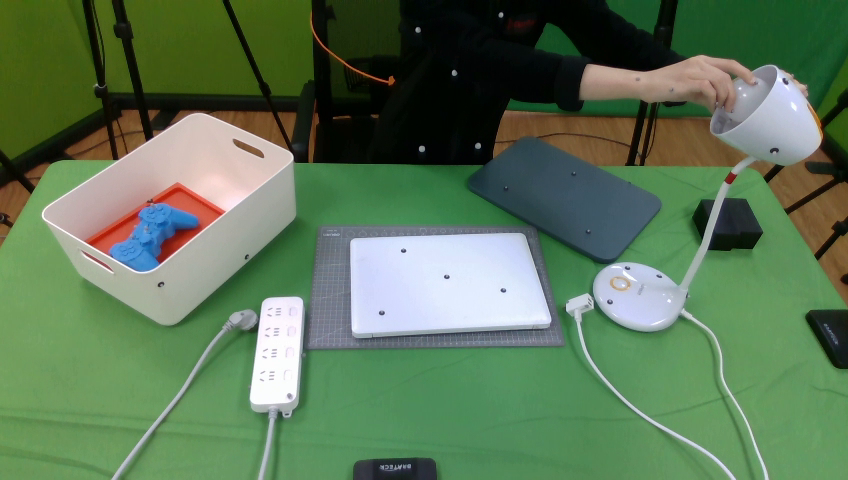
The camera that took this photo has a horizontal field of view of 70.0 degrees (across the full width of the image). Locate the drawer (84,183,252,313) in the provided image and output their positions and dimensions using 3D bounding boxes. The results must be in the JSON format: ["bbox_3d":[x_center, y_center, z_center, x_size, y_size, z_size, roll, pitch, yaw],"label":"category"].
[{"bbox_3d":[-0.457,0.008,1.099,0.194,0.073,0.211,29,49,21],"label":"drawer"}]

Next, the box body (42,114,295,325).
[{"bbox_3d":[-0.437,-0.046,1.110,0.253,0.161,0.363,24,49,19],"label":"box body"}]

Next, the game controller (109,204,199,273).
[{"bbox_3d":[-0.467,-0.005,1.044,0.097,0.052,0.154,8,45,10],"label":"game controller"}]

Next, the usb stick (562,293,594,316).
[{"bbox_3d":[0.274,0.118,1.087,0.021,0.059,0.027,39,45,-27],"label":"usb stick"}]

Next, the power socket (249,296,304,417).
[{"bbox_3d":[-0.239,0.182,0.996,0.072,0.033,0.225,-2,47,-5],"label":"power socket"}]

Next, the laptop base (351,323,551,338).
[{"bbox_3d":[0.040,0.080,1.125,0.355,0.023,0.234,-2,43,-6],"label":"laptop base"}]

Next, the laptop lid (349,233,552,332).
[{"bbox_3d":[0.040,0.070,1.119,0.357,0.013,0.240,-1,44,-5],"label":"laptop lid"}]

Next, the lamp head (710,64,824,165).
[{"bbox_3d":[0.465,-0.153,0.812,0.123,0.112,0.112,36,47,-13],"label":"lamp head"}]

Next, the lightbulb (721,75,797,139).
[{"bbox_3d":[0.438,-0.169,0.788,0.059,0.060,0.107,-25,62,-26],"label":"lightbulb"}]

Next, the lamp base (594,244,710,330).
[{"bbox_3d":[0.412,0.052,1.070,0.179,0.181,0.160,18,48,9],"label":"lamp base"}]

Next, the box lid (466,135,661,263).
[{"bbox_3d":[0.306,-0.102,1.327,0.370,0.015,0.263,32,52,25],"label":"box lid"}]

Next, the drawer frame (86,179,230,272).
[{"bbox_3d":[-0.453,0.010,1.100,0.201,0.083,0.213,28,55,22],"label":"drawer frame"}]

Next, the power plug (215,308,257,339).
[{"bbox_3d":[-0.317,0.143,1.024,0.072,0.053,0.035,-32,57,-8],"label":"power plug"}]
